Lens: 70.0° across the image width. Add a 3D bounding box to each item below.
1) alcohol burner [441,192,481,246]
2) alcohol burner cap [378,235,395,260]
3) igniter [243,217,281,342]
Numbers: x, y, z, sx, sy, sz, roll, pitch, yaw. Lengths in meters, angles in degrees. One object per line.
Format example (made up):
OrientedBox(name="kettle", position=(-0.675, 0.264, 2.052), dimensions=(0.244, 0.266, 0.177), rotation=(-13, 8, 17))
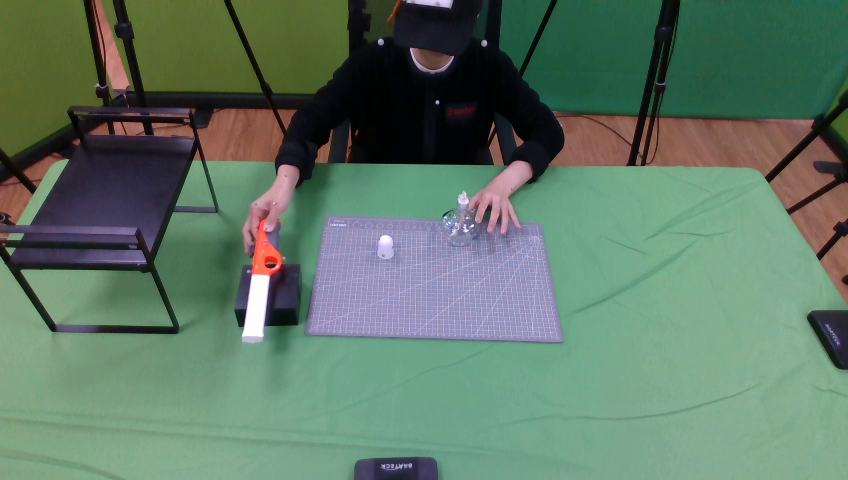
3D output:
OrientedBox(name="alcohol burner", position=(0.074, -0.046, 1.176), dimensions=(0.078, 0.119, 0.077), rotation=(3, 44, -2))
OrientedBox(name="alcohol burner cap", position=(-0.073, 0.012, 1.160), dimensions=(0.034, 0.048, 0.033), rotation=(1, 46, 0))
OrientedBox(name="igniter", position=(-0.277, 0.057, 1.039), dimensions=(0.057, 0.025, 0.274), rotation=(5, 44, -12))
